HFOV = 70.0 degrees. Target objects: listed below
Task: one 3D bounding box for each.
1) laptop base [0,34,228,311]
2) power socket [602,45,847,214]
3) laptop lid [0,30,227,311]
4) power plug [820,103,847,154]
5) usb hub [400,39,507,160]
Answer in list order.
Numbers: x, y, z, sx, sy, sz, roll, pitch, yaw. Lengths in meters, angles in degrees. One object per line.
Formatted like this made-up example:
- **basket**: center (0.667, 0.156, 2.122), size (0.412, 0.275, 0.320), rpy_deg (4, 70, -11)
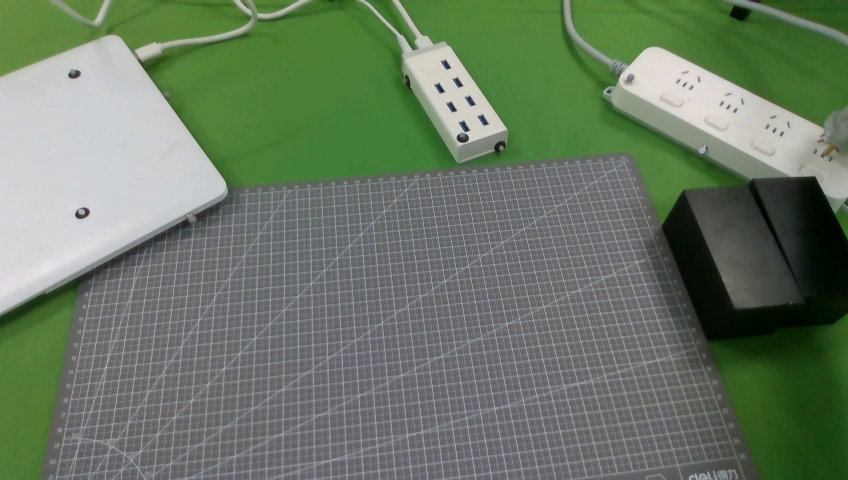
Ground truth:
- **laptop base**: center (-0.363, -0.028, 0.480), size (0.354, 0.023, 0.233), rpy_deg (-32, 66, -19)
- **power socket**: center (0.268, -0.101, 0.528), size (0.225, 0.033, 0.072), rpy_deg (35, 63, 20)
- **laptop lid**: center (-0.362, -0.033, 0.469), size (0.357, 0.013, 0.239), rpy_deg (-31, 65, -19)
- **power plug**: center (0.346, -0.101, 0.484), size (0.035, 0.053, 0.072), rpy_deg (40, 66, 10)
- **usb hub**: center (0.023, -0.129, 0.547), size (0.049, 0.025, 0.124), rpy_deg (-21, 60, -13)
